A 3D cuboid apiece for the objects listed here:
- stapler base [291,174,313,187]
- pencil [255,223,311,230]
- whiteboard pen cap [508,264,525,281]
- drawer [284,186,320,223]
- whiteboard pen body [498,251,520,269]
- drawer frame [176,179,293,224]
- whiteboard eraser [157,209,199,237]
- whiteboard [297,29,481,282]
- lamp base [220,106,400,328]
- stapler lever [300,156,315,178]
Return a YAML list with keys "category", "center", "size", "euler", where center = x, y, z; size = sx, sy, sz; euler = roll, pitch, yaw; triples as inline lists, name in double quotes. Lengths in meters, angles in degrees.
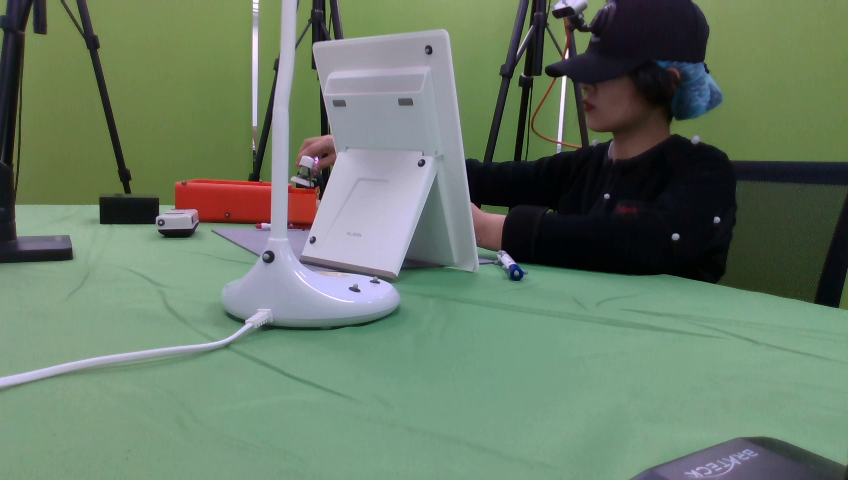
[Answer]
- category: "stapler base"
  center: [-0.258, -0.131, 1.299]
  size: [0.041, 0.024, 0.130]
  euler: [22, 1, -8]
- category: "pencil"
  center: [-0.216, -0.022, 1.134]
  size: [0.195, 0.012, 0.012]
  euler: [2, 7, -22]
- category: "whiteboard pen cap"
  center: [0.115, 0.039, 0.752]
  size: [0.018, 0.018, 0.033]
  euler: [2, 9, 0]
- category: "drawer"
  center: [-0.333, -0.082, 1.310]
  size: [0.212, 0.073, 0.194]
  euler: [1, 8, -8]
- category: "whiteboard pen body"
  center: [0.116, 0.032, 0.810]
  size: [0.017, 0.017, 0.140]
  euler: [2, 8, -1]
- category: "drawer frame"
  center: [-0.395, -0.086, 1.299]
  size: [0.214, 0.082, 0.201]
  euler: [1, 8, -9]
- category: "whiteboard eraser"
  center: [-0.411, -0.029, 1.016]
  size: [0.056, 0.042, 0.112]
  euler: [2, 7, -16]
- category: "whiteboard"
  center: [-0.075, -0.082, 0.741]
  size: [0.216, 0.305, 0.144]
  euler: [9, 29, 37]
- category: "lamp base"
  center: [-0.101, -0.023, 0.531]
  size: [0.160, 0.180, 0.179]
  euler: [4, 10, 10]
- category: "stapler lever"
  center: [-0.250, -0.155, 1.299]
  size: [0.027, 0.040, 0.118]
  euler: [22, 0, -8]
